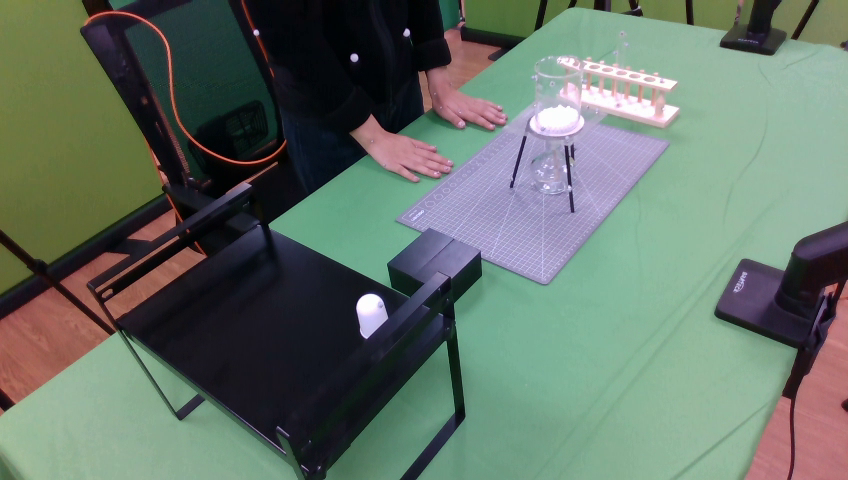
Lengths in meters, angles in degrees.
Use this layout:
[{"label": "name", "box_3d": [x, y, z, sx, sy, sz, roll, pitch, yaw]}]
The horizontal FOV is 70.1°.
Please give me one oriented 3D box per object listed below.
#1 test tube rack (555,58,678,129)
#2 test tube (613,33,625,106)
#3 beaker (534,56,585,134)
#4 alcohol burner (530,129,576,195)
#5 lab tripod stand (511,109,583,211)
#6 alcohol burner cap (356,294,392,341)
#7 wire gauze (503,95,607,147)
[{"label": "test tube rack", "box_3d": [0.390, -0.307, 1.229, 0.240, 0.085, 0.067, 25, 50, 33]}, {"label": "test tube", "box_3d": [0.380, -0.330, 1.180, 0.017, 0.151, 0.017, -7, 41, 6]}, {"label": "beaker", "box_3d": [0.209, -0.226, 0.942, 0.074, 0.101, 0.083, -2, 41, 7]}, {"label": "alcohol burner", "box_3d": [0.220, -0.137, 1.029, 0.078, 0.119, 0.077, -5, 42, 5]}, {"label": "lab tripod stand", "box_3d": [0.220, -0.138, 1.014, 0.148, 0.132, 0.147, -3, 41, 3]}, {"label": "alcohol burner cap", "box_3d": [-0.051, 0.074, 0.601, 0.034, 0.048, 0.033, -5, 42, 5]}, {"label": "wire gauze", "box_3d": [0.212, -0.191, 0.976, 0.120, 0.011, 0.125, 24, 52, 32]}]
